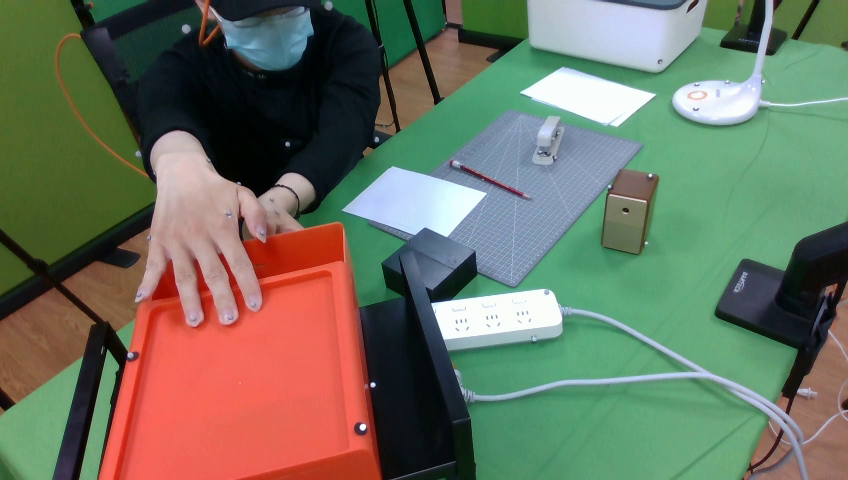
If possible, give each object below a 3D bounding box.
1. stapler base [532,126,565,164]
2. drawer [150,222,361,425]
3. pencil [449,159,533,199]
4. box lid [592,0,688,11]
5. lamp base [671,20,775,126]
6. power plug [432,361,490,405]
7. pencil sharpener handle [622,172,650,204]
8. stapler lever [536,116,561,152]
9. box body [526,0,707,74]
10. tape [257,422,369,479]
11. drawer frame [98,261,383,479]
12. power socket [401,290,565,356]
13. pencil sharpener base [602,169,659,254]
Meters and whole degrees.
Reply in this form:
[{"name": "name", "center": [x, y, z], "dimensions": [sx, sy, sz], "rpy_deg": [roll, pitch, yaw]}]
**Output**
[{"name": "stapler base", "center": [0.238, -0.189, 1.155], "dimensions": [0.041, 0.024, 0.130], "rpy_deg": [10, 42, 18]}, {"name": "drawer", "center": [-0.161, 0.087, 0.571], "dimensions": [0.195, 0.073, 0.210], "rpy_deg": [-10, 40, -4]}, {"name": "pencil", "center": [0.118, -0.110, 1.091], "dimensions": [0.192, 0.012, 0.012], "rpy_deg": [30, 53, 34]}, {"name": "box lid", "center": [0.441, -0.596, 1.383], "dimensions": [0.368, 0.015, 0.264], "rpy_deg": [24, 49, 31]}, {"name": "lamp base", "center": [0.582, -0.332, 1.153], "dimensions": [0.179, 0.181, 0.160], "rpy_deg": [2, 42, 7]}, {"name": "power plug", "center": [0.044, 0.182, 0.759], "dimensions": [0.073, 0.035, 0.052], "rpy_deg": [26, 40, -19]}, {"name": "pencil sharpener handle", "center": [0.328, -0.086, 0.941], "dimensions": [0.036, 0.068, 0.030], "rpy_deg": [29, 49, 8]}, {"name": "stapler lever", "center": [0.236, -0.209, 1.141], "dimensions": [0.026, 0.040, 0.118], "rpy_deg": [10, 43, 18]}, {"name": "box body", "center": [0.450, -0.540, 1.430], "dimensions": [0.361, 0.161, 0.255], "rpy_deg": [24, 50, 31]}, {"name": "tape", "center": [-0.120, 0.262, 0.659], "dimensions": [0.117, 0.053, 0.116], "rpy_deg": [-4, 40, 4]}, {"name": "drawer frame", "center": [-0.148, 0.129, 0.520], "dimensions": [0.202, 0.083, 0.212], "rpy_deg": [-12, 41, -6]}, {"name": "power socket", "center": [0.080, 0.112, 0.822], "dimensions": [0.227, 0.033, 0.072], "rpy_deg": [-6, 41, 0]}, {"name": "pencil sharpener base", "center": [0.312, -0.044, 0.914], "dimensions": [0.061, 0.107, 0.077], "rpy_deg": [14, 45, 24]}]
